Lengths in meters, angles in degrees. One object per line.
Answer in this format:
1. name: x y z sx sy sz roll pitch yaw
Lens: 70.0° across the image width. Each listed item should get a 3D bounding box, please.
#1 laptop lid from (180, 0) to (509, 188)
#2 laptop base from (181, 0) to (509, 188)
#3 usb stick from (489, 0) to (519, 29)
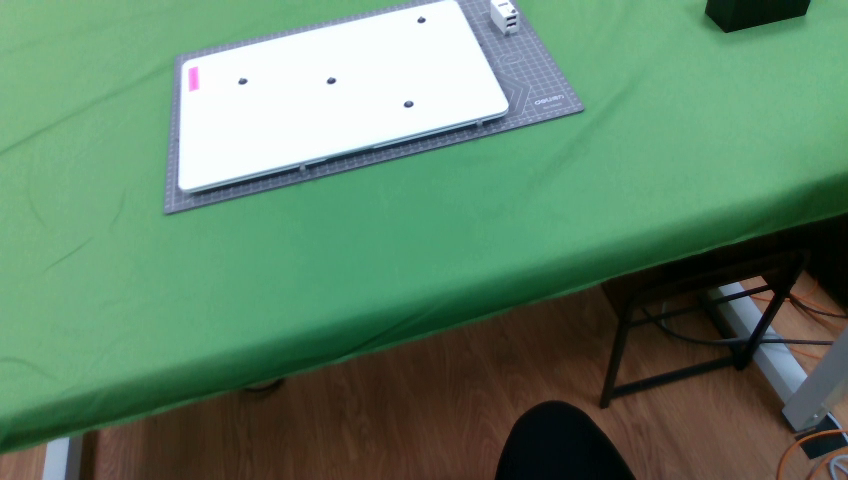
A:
1. laptop lid: -0.104 -0.184 0.692 0.357 0.013 0.239 -14 53 -2
2. laptop base: -0.103 -0.178 0.702 0.354 0.023 0.233 -15 54 -4
3. usb stick: 0.097 -0.289 0.754 0.021 0.027 0.058 -19 47 -6
